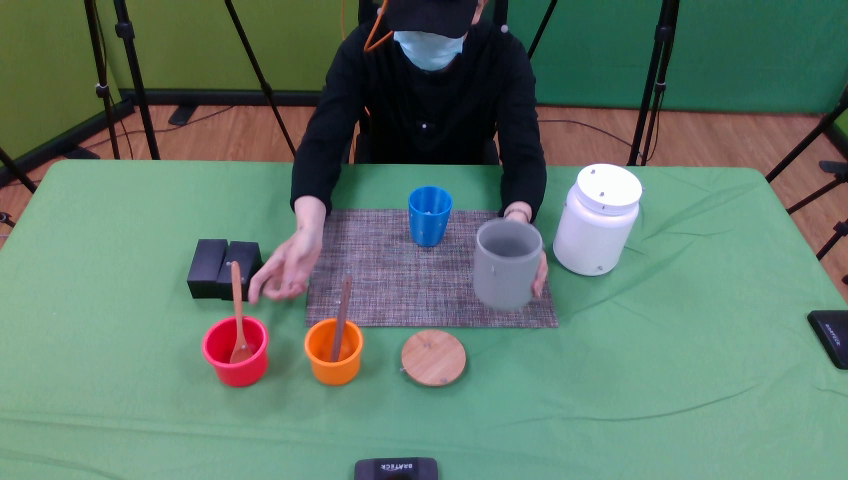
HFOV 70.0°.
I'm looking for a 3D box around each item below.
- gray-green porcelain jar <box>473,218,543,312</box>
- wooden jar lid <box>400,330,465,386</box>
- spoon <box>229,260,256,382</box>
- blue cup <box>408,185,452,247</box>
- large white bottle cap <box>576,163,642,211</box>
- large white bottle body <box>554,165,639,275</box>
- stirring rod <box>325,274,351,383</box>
[{"bbox_3d":[0.134,0.045,0.988,0.106,0.127,0.105,0,40,0],"label":"gray-green porcelain jar"},{"bbox_3d":[0.014,0.198,1.008,0.108,0.021,0.107,2,47,-2],"label":"wooden jar lid"},{"bbox_3d":[-0.295,0.129,0.966,0.042,0.021,0.193,-4,90,-9],"label":"spoon"},{"bbox_3d":[0.008,-0.041,1.177,0.093,0.101,0.092,3,46,-3],"label":"blue cup"},{"bbox_3d":[0.330,-0.096,1.080,0.115,0.018,0.114,2,46,-2],"label":"large white bottle cap"},{"bbox_3d":[0.326,-0.037,1.141,0.131,0.185,0.130,2,46,-2],"label":"large white bottle body"},{"bbox_3d":[-0.137,0.142,0.971,0.014,0.006,0.176,9,89,1],"label":"stirring rod"}]
